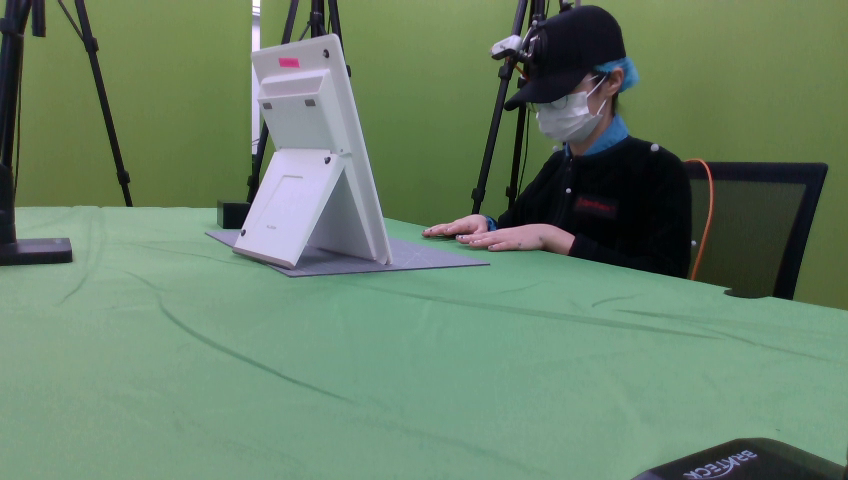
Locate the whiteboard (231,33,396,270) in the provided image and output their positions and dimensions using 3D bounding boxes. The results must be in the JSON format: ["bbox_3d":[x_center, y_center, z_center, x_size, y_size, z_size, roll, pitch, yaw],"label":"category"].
[{"bbox_3d":[-0.193,-0.094,0.805,0.144,0.305,0.216,-29,25,-35],"label":"whiteboard"}]

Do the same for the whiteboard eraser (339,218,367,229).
[{"bbox_3d":[-0.146,-0.036,1.246,0.041,0.019,0.101,2,5,9],"label":"whiteboard eraser"}]
